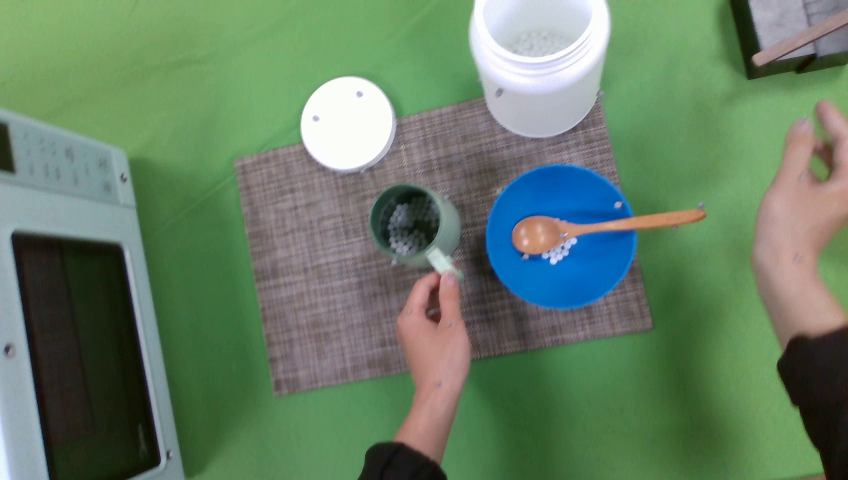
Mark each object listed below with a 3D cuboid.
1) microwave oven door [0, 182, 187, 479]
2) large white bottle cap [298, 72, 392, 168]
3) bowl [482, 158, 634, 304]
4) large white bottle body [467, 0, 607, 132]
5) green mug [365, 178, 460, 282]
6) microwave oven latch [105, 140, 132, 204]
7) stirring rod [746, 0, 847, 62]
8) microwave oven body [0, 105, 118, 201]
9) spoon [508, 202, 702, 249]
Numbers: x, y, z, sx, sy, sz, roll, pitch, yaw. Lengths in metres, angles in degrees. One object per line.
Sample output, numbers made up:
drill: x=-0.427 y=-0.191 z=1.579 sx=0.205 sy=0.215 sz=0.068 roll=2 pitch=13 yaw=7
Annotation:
microwave oven door: x=-0.362 y=0.123 z=0.634 sx=0.039 sy=0.244 sz=0.355 roll=-14 pitch=84 yaw=9
large white bottle cap: x=-0.095 y=-0.145 z=0.730 sx=0.114 sy=0.018 sz=0.114 roll=-1 pitch=86 yaw=10
bowl: x=0.141 y=-0.007 z=0.650 sx=0.151 sy=0.077 sz=0.151 roll=-1 pitch=87 yaw=10
large white bottle body: x=0.113 y=-0.198 z=0.611 sx=0.130 sy=0.185 sz=0.130 roll=-1 pitch=82 yaw=11
green mug: x=-0.003 y=-0.007 z=0.662 sx=0.092 sy=0.105 sz=0.125 roll=-39 pitch=81 yaw=5
microwave oven latch: x=-0.389 y=-0.083 z=0.754 sx=0.030 sy=0.029 sz=0.079 roll=-13 pitch=85 yaw=8
stirring rod: x=0.409 y=-0.226 z=0.606 sx=0.176 sy=0.006 sz=0.014 roll=-27 pitch=87 yaw=9
microwave oven body: x=-0.510 y=0.117 z=0.666 sx=0.326 sy=0.261 sz=0.440 roll=-14 pitch=85 yaw=8
spoon: x=0.178 y=-0.018 z=0.615 sx=0.193 sy=0.022 sz=0.041 roll=-6 pitch=89 yaw=33
